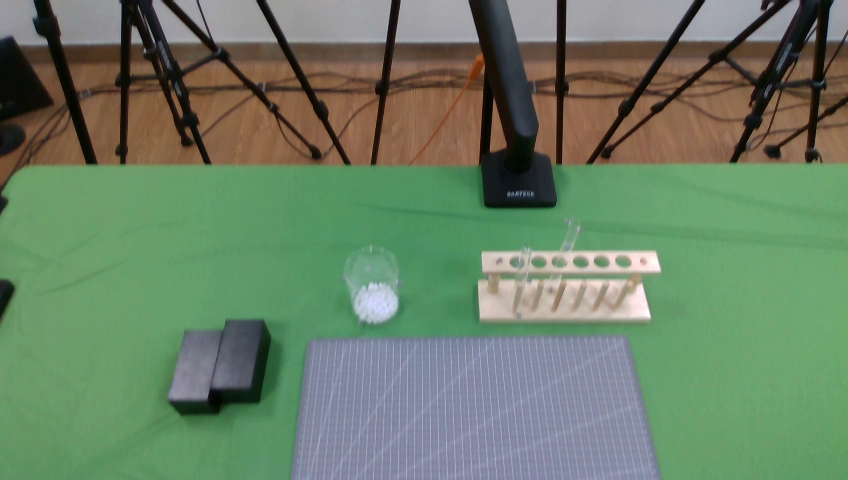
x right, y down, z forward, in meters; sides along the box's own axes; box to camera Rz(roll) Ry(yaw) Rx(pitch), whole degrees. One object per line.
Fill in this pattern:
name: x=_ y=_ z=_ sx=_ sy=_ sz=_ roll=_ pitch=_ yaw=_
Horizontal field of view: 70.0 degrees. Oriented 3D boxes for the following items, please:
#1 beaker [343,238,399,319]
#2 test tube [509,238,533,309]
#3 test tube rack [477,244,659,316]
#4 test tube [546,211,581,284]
beaker: x=-0.072 y=0.057 z=0.849 sx=0.074 sy=0.101 sz=0.083 roll=-4 pitch=53 yaw=-3
test tube: x=0.129 y=0.047 z=0.810 sx=0.017 sy=0.152 sz=0.017 roll=0 pitch=51 yaw=1
test tube rack: x=0.200 y=0.058 z=0.857 sx=0.242 sy=0.086 sz=0.066 roll=0 pitch=54 yaw=0
test tube: x=0.189 y=0.014 z=0.828 sx=0.017 sy=0.151 sz=0.017 roll=2 pitch=51 yaw=-2
